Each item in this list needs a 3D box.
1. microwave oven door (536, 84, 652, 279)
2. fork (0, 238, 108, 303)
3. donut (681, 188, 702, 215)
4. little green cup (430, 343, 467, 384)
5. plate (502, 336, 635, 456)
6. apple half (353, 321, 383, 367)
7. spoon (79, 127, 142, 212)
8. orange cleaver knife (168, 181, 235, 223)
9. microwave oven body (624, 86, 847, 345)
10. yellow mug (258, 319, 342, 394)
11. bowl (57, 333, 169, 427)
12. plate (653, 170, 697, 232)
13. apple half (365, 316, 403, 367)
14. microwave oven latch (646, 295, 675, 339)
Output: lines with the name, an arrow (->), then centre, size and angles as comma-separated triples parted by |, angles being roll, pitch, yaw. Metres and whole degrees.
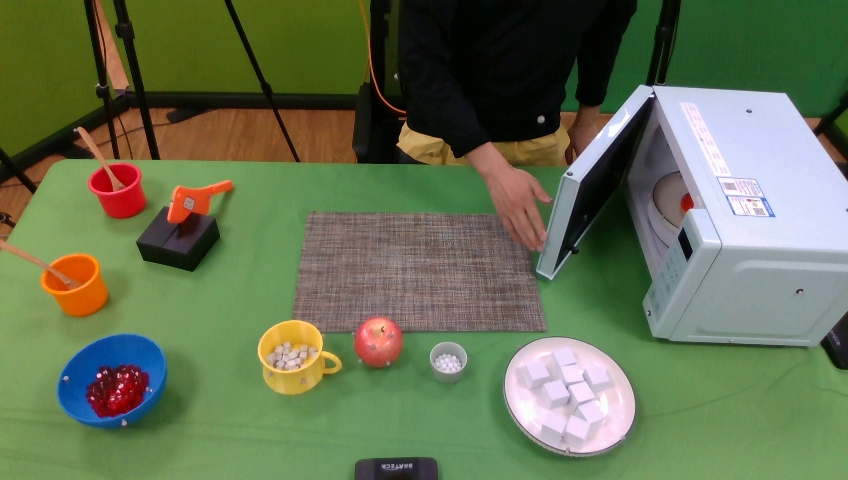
microwave oven door -> 0.331, -0.118, 1.158 | 0.039, 0.245, 0.355 | 28, 51, 21
fork -> -0.633, 0.048, 1.017 | 0.208, 0.018, 0.028 | 40, 41, -27
donut -> 0.553, -0.065, 1.184 | 0.099, 0.048, 0.098 | 2, 44, -2
little green cup -> 0.039, 0.203, 0.994 | 0.061, 0.039, 0.061 | 2, 46, -2
plate -> 0.225, 0.248, 0.963 | 0.208, 0.039, 0.206 | 2, 46, -2
apple half -> -0.097, 0.177, 0.984 | 0.033, 0.081, 0.081 | -17, 49, -25
spoon -> -0.624, -0.140, 1.203 | 0.041, 0.021, 0.194 | -33, 101, -26
orange cleaver knife -> -0.436, -0.078, 1.196 | 0.012, 0.077, 0.211 | 16, 15, 10
microwave oven body -> 0.568, -0.053, 1.119 | 0.326, 0.261, 0.439 | 2, 45, -1
yellow mug -> -0.195, 0.189, 0.972 | 0.131, 0.064, 0.099 | 9, 46, 4
bowl -> -0.456, 0.223, 0.912 | 0.151, 0.077, 0.150 | 3, 45, -3
plate -> 0.555, -0.059, 1.196 | 0.209, 0.038, 0.208 | 2, 46, -2
apple half -> -0.063, 0.165, 1.000 | 0.053, 0.075, 0.080 | -16, 45, -24
microwave oven latch -> 0.412, 0.134, 1.061 | 0.030, 0.029, 0.078 | 3, 45, 1
